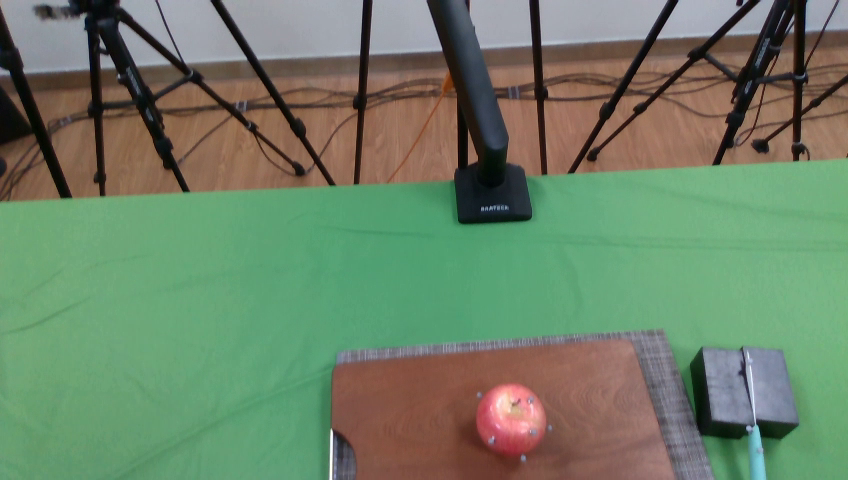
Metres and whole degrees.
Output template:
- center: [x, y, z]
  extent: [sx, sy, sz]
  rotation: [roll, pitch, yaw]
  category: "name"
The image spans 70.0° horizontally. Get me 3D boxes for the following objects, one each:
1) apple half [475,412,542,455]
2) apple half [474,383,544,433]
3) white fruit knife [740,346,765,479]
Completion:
- center: [0.095, 0.230, 0.695]
  extent: [0.081, 0.082, 0.032]
  rotation: [6, 49, 6]
  category: "apple half"
- center: [0.102, 0.200, 0.719]
  extent: [0.080, 0.075, 0.053]
  rotation: [4, 49, 10]
  category: "apple half"
- center: [0.388, 0.228, 0.720]
  extent: [0.016, 0.027, 0.206]
  rotation: [4, 67, 5]
  category: "white fruit knife"
